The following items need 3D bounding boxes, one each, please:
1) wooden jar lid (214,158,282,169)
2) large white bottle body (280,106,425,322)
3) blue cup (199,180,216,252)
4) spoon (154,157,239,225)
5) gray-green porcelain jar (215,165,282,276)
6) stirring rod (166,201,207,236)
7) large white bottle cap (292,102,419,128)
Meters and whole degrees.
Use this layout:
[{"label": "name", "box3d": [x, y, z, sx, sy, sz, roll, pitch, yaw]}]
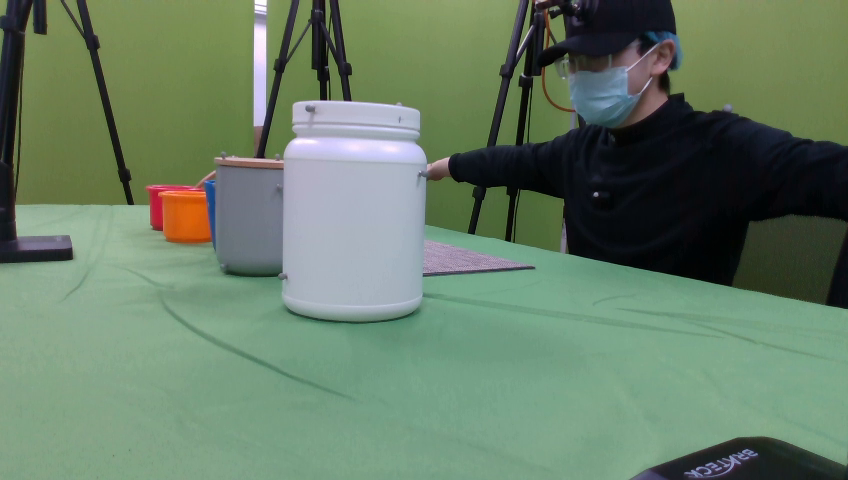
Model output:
[{"label": "wooden jar lid", "box3d": [-0.193, -0.085, 0.719, 0.108, 0.020, 0.108, 2, 9, 0]}, {"label": "large white bottle body", "box3d": [-0.065, -0.028, 0.559, 0.131, 0.184, 0.130, 2, 7, 0]}, {"label": "blue cup", "box3d": [-0.267, -0.032, 0.860, 0.093, 0.100, 0.092, 2, 9, 0]}, {"label": "spoon", "box3d": [-0.411, -0.092, 1.105, 0.041, 0.022, 0.194, 13, 57, 51]}, {"label": "gray-green porcelain jar", "box3d": [-0.195, -0.024, 0.726, 0.106, 0.126, 0.106, 3, 7, 0]}, {"label": "stirring rod", "box3d": [-0.341, -0.066, 0.967, 0.176, 0.006, 0.014, -42, 23, -9]}, {"label": "large white bottle cap", "box3d": [-0.061, -0.111, 0.547, 0.115, 0.018, 0.115, 2, 8, 0]}]
